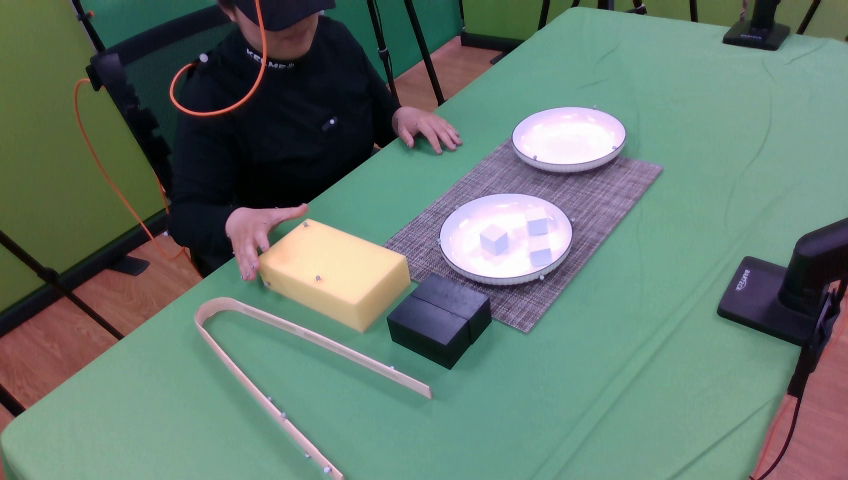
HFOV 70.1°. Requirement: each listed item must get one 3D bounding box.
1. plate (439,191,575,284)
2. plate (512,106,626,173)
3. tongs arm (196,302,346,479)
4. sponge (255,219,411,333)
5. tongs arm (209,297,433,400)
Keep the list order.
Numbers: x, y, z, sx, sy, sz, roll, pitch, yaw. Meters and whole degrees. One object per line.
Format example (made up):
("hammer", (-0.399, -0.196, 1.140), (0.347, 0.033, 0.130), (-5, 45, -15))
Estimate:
("plate", (0.129, -0.001, 0.942), (0.207, 0.039, 0.206), (-5, 40, 5))
("plate", (0.269, -0.185, 1.132), (0.209, 0.038, 0.208), (-5, 40, 5))
("tongs arm", (-0.206, 0.185, 0.791), (0.381, 0.026, 0.051), (28, 51, 37))
("sponge", (-0.139, 0.048, 0.922), (0.205, 0.061, 0.118), (19, 47, 30))
("tongs arm", (-0.153, 0.143, 0.837), (0.385, 0.028, 0.028), (17, 49, 28))
